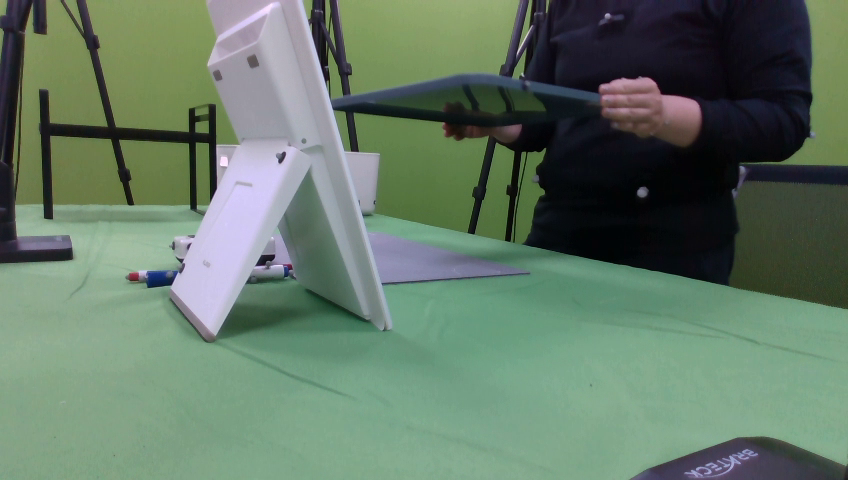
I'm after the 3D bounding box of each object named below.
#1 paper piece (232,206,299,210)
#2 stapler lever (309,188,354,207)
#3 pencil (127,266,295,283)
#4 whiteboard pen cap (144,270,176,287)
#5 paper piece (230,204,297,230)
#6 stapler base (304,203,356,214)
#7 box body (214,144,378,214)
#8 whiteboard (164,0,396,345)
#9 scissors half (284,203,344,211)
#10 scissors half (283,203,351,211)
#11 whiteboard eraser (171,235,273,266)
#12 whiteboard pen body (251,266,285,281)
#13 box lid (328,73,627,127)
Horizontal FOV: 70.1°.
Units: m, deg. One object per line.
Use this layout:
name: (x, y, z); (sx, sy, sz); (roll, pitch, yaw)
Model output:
paper piece: (-0.388, -0.079, 1.466); (0.136, 0.004, 0.135); (-2, 7, -30)
stapler lever: (-0.231, -0.106, 1.509); (0.119, 0.040, 0.026); (3, 9, -35)
pencil: (-0.231, 0.037, 0.690); (0.195, 0.012, 0.012); (-2, 9, -34)
whiteboard pen cap: (-0.271, 0.039, 0.627); (0.033, 0.018, 0.018); (-3, 10, -33)
paper piece: (-0.392, -0.059, 1.469); (0.139, 0.008, 0.135); (-8, 28, -26)
stapler base: (-0.235, -0.081, 1.510); (0.131, 0.024, 0.041); (2, 9, -35)
box body: (-0.328, -0.154, 1.543); (0.366, 0.160, 0.253); (-2, 9, -32)
whiteboard: (-0.173, -0.053, 0.511); (0.144, 0.305, 0.216); (-23, 19, -26)
scissors half: (-0.281, -0.083, 1.552); (0.176, 0.013, 0.040); (-9, 6, -44)
scissors half: (-0.269, -0.081, 1.534); (0.176, 0.013, 0.040); (-6, 10, -23)
whiteboard eraser: (-0.248, 0.014, 0.747); (0.113, 0.042, 0.055); (-1, 10, -32)
whiteboard pen body: (-0.220, 0.039, 0.656); (0.141, 0.017, 0.017); (-2, 9, -31)
box lid: (0.080, -0.180, 0.828); (0.262, 0.015, 0.373); (3, 6, 44)
